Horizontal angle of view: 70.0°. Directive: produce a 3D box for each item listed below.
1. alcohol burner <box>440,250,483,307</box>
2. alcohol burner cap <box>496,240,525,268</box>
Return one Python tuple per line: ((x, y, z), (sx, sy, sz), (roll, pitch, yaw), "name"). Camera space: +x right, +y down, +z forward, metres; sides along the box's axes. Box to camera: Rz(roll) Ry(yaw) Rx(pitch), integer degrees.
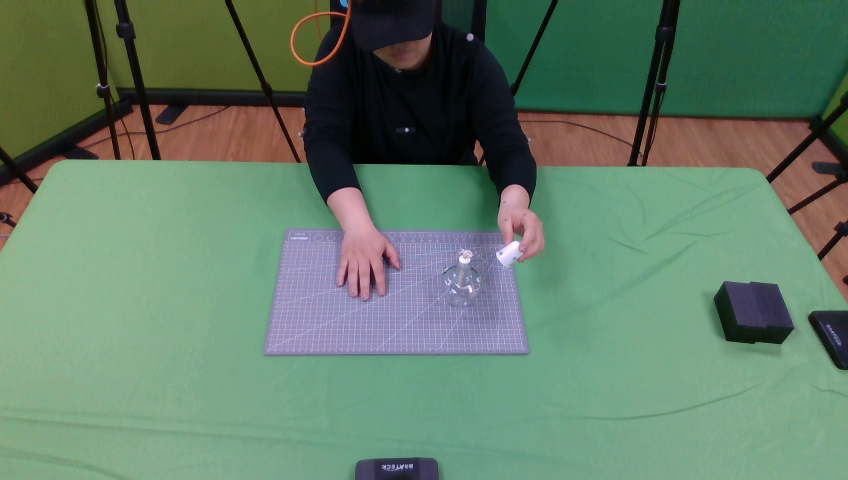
((0.068, 0.064, 1.076), (0.078, 0.120, 0.077), (1, 45, -1), "alcohol burner")
((0.147, 0.021, 1.018), (0.034, 0.048, 0.033), (38, 26, -22), "alcohol burner cap")
